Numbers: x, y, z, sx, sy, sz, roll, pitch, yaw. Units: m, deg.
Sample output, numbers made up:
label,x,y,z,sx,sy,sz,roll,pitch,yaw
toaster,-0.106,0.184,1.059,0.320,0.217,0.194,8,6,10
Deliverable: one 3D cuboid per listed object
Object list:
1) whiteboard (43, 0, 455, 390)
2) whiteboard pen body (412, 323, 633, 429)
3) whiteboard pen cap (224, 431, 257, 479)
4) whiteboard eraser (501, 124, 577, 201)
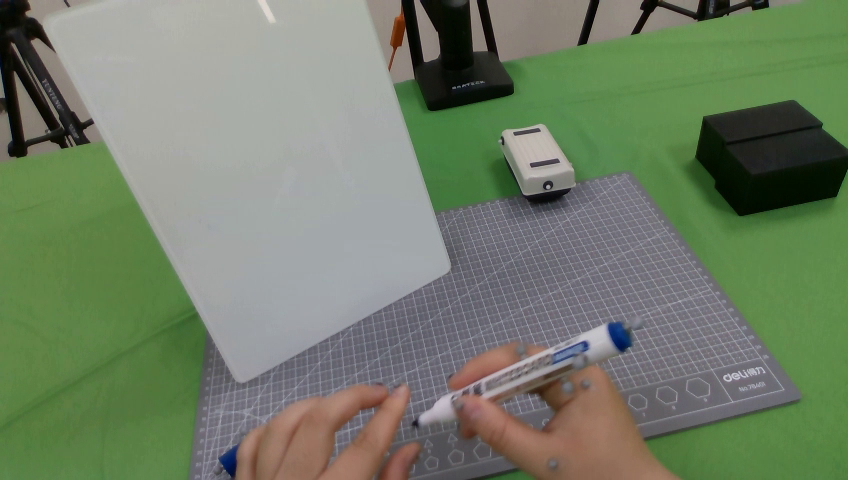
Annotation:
label,x,y,z,sx,sy,sz,roll,pitch,yaw
whiteboard,-0.134,-0.071,0.532,0.217,0.308,0.142,-27,25,-18
whiteboard pen body,0.045,0.077,0.319,0.141,0.017,0.017,-33,32,30
whiteboard pen cap,-0.135,0.159,0.445,0.018,0.018,0.033,0,59,10
whiteboard eraser,0.122,-0.084,0.657,0.055,0.042,0.111,-12,38,0
